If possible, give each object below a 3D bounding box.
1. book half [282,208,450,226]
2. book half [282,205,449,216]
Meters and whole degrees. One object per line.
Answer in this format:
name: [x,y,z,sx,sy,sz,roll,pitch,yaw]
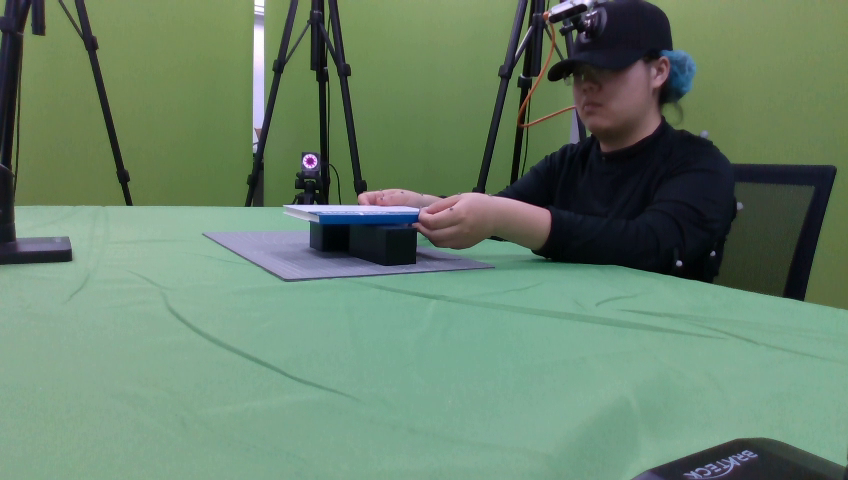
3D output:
book half: [-0.086,-0.037,0.905,0.211,0.016,0.148,-1,9,-32]
book half: [-0.088,-0.044,0.907,0.211,0.007,0.142,-2,9,-32]
